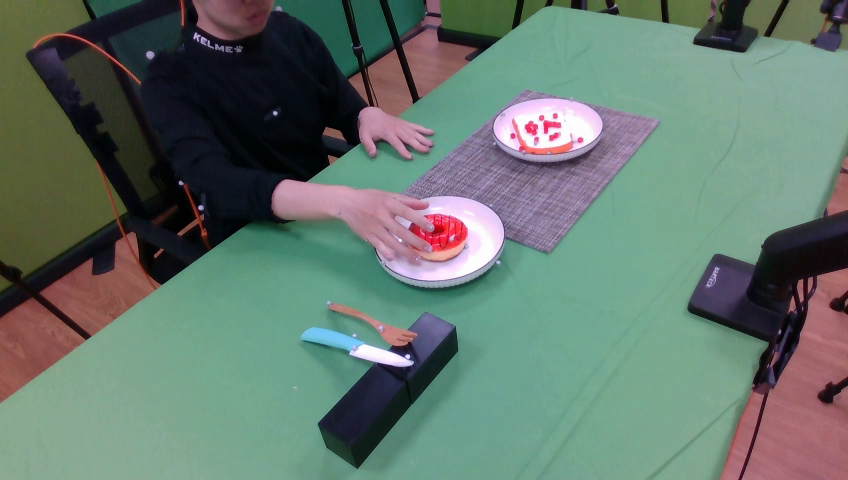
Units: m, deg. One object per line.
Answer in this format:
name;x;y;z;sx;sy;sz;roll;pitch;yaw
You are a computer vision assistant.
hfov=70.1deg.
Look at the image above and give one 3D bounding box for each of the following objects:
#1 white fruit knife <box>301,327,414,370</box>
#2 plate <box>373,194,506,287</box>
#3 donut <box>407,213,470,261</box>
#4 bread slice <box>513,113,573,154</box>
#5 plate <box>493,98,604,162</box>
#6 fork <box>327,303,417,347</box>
white fruit knife;-0.088;0.140;0.781;0.205;0.016;0.027;7;42;42
plate;0.025;0.003;0.952;0.207;0.039;0.206;-4;41;4
donut;0.022;-0.006;0.944;0.099;0.048;0.098;-4;38;3
bread slice;0.233;-0.205;1.160;0.105;0.019;0.131;-7;40;1
plate;0.237;-0.206;1.158;0.209;0.038;0.208;-4;40;4
fork;-0.077;0.110;0.811;0.028;0.019;0.205;-40;33;-26
